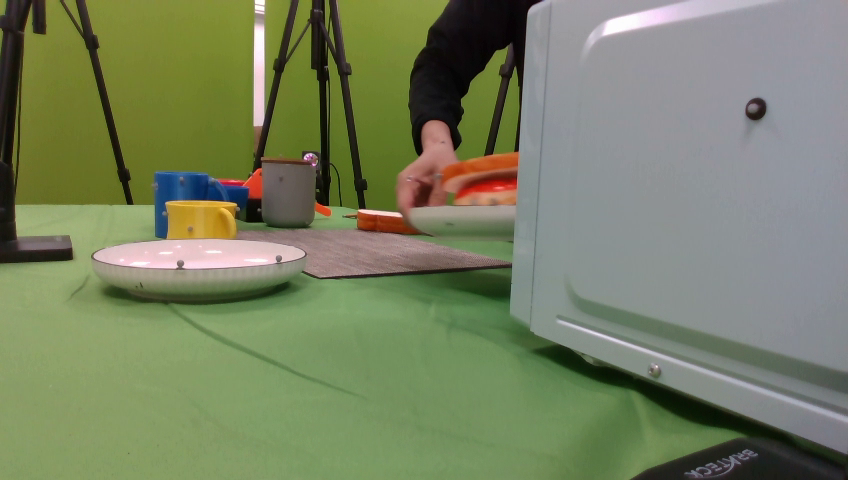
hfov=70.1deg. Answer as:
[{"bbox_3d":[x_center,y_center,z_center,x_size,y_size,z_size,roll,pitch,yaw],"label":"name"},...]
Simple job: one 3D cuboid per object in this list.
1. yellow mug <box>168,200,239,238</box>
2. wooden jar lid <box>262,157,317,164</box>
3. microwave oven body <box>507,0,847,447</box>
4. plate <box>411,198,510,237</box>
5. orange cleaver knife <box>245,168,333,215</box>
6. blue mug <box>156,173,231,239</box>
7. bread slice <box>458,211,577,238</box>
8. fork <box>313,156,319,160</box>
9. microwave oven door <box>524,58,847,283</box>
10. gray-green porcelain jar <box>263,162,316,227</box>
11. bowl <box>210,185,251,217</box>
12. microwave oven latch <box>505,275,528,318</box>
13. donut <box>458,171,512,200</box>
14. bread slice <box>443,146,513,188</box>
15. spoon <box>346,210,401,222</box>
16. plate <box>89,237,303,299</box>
[{"bbox_3d":[-0.319,-0.023,0.904,0.130,0.064,0.100,9,11,36],"label":"yellow mug"},{"bbox_3d":[-0.269,-0.154,1.208,0.108,0.020,0.108,3,4,0],"label":"wooden jar lid"},{"bbox_3d":[0.331,-0.042,0.425,0.444,0.260,0.324,-2,8,-31],"label":"microwave oven body"},{"bbox_3d":[0.089,-0.023,0.674,0.209,0.038,0.209,0,2,0],"label":"plate"},{"bbox_3d":[-0.300,-0.089,1.352,0.212,0.077,0.012,28,-9,-34],"label":"orange cleaver knife"},{"bbox_3d":[-0.381,-0.057,1.004,0.117,0.106,0.082,1,8,-12],"label":"blue mug"},{"bbox_3d":[0.103,-0.018,0.675,0.131,0.019,0.105,-6,3,2],"label":"bread slice"},{"bbox_3d":[-0.331,-0.144,1.506,0.207,0.018,0.028,-42,-18,22],"label":"fork"},{"bbox_3d":[0.300,-0.090,0.748,0.354,0.243,0.039,6,9,32],"label":"microwave oven door"},{"bbox_3d":[-0.271,-0.092,1.217,0.106,0.126,0.106,2,7,0],"label":"gray-green porcelain jar"},{"bbox_3d":[-0.408,-0.064,1.154,0.151,0.077,0.151,2,8,0],"label":"bowl"},{"bbox_3d":[0.100,0.041,0.473,0.079,0.029,0.030,-2,8,-32],"label":"microwave oven latch"},{"bbox_3d":[0.087,-0.050,0.677,0.099,0.048,0.099,-5,-2,0],"label":"donut"},{"bbox_3d":[0.088,-0.082,0.672,0.134,0.018,0.107,-9,-8,-1],"label":"bread slice"},{"bbox_3d":[-0.120,-0.060,1.400,0.042,0.021,0.192,-27,24,-38],"label":"spoon"},{"bbox_3d":[-0.233,0.029,0.636,0.208,0.039,0.207,2,7,0],"label":"plate"}]
